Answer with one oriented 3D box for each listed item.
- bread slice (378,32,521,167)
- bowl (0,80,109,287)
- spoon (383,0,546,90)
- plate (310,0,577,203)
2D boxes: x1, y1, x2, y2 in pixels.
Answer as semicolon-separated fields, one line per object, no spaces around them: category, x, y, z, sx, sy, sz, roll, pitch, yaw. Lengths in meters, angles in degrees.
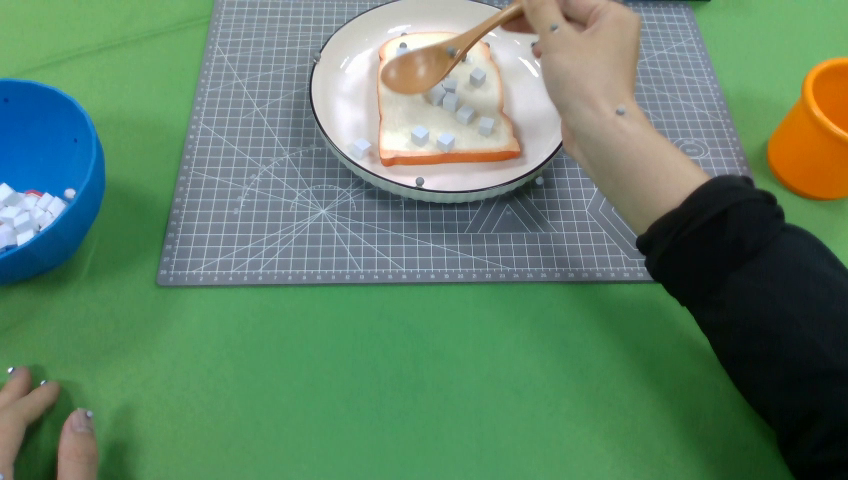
bread slice;0.011;-0.116;0.492;0.107;0.018;0.133;-7;62;-6
bowl;-0.278;-0.024;0.403;0.151;0.077;0.150;1;60;-2
spoon;0.058;-0.159;0.434;0.193;0.022;0.041;-25;61;17
plate;0.015;-0.113;0.488;0.209;0.038;0.207;1;60;-2
